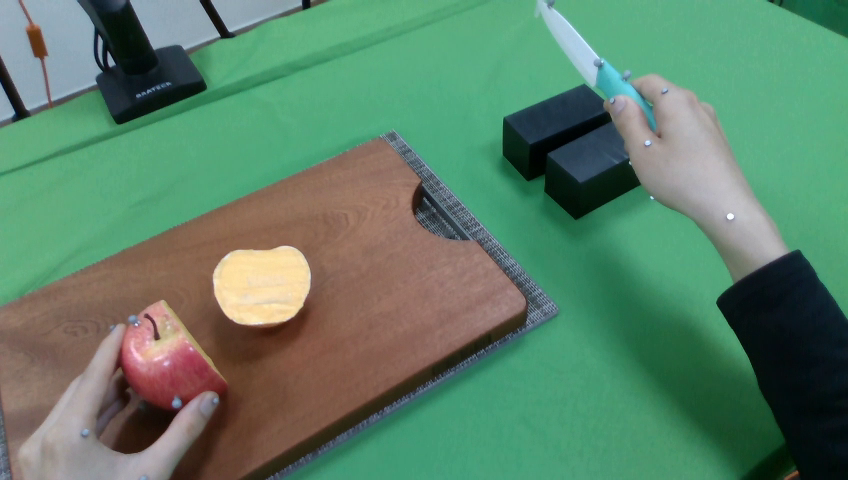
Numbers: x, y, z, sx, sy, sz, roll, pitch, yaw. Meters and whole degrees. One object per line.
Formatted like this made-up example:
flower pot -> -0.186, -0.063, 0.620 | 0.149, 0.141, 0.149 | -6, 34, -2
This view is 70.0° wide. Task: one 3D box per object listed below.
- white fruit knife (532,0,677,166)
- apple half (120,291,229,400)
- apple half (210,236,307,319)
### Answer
white fruit knife -> 0.145, -0.146, 0.507 | 0.016, 0.027, 0.205 | -12, 60, -34
apple half -> -0.188, 0.085, 0.446 | 0.053, 0.075, 0.080 | -40, 61, -18
apple half -> -0.136, 0.035, 0.505 | 0.081, 0.033, 0.080 | 4, 59, -6
